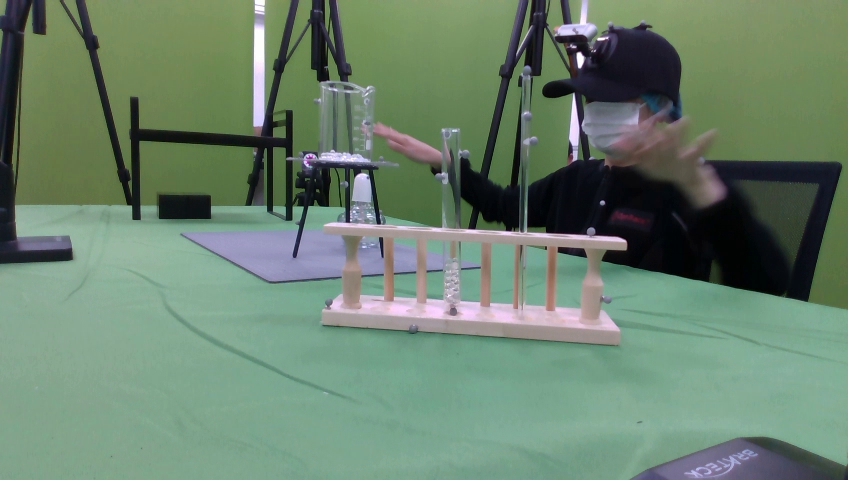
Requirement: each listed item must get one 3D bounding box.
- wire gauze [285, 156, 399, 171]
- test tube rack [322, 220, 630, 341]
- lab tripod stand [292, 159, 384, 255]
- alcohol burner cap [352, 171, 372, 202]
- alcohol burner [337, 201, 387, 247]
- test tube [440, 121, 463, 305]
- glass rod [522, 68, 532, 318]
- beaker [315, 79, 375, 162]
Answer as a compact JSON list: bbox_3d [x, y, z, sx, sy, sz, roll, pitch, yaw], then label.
[{"bbox_3d":[-0.102,-0.103,0.787,0.121,0.011,0.125,5,4,6],"label":"wire gauze"},{"bbox_3d":[0.041,0.029,0.512,0.242,0.085,0.067,3,7,5],"label":"test tube rack"},{"bbox_3d":[-0.105,-0.039,0.797,0.148,0.131,0.148,2,5,0],"label":"lab tripod stand"},{"bbox_3d":[-0.096,-0.084,0.951,0.034,0.048,0.034,6,5,0],"label":"alcohol burner cap"},{"bbox_3d":[-0.098,-0.049,0.954,0.078,0.119,0.078,0,6,0],"label":"alcohol burner"},{"bbox_3d":[0.023,-0.019,0.487,0.017,0.150,0.017,-2,14,1],"label":"test tube"},{"bbox_3d":[0.081,-0.031,0.472,0.008,0.199,0.008,-2,14,1],"label":"glass rod"},{"bbox_3d":[-0.100,-0.151,0.778,0.074,0.100,0.083,-3,8,-38],"label":"beaker"}]
